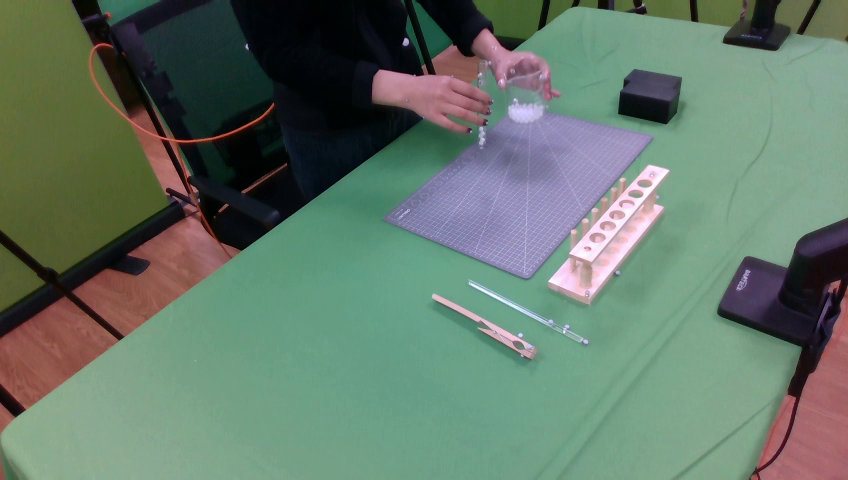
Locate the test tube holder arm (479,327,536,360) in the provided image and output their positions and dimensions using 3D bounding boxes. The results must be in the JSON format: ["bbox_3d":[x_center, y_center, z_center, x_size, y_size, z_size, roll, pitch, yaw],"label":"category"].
[{"bbox_3d":[0.110,0.134,0.805,0.087,0.015,0.010,29,83,36],"label":"test tube holder arm"}]

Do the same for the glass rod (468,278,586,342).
[{"bbox_3d":[0.140,0.096,0.853,0.198,0.008,0.008,27,53,35],"label":"glass rod"}]

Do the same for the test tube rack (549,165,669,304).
[{"bbox_3d":[0.279,-0.018,0.902,0.066,0.085,0.243,24,50,33],"label":"test tube rack"}]

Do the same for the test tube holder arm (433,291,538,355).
[{"bbox_3d":[0.081,0.112,0.832,0.177,0.015,0.013,29,82,36],"label":"test tube holder arm"}]

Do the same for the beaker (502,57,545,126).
[{"bbox_3d":[0.179,-0.262,1.084,0.073,0.101,0.084,29,56,37],"label":"beaker"}]

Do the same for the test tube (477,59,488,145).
[{"bbox_3d":[0.098,-0.229,1.017,0.017,0.151,0.017,-2,36,2],"label":"test tube"}]
